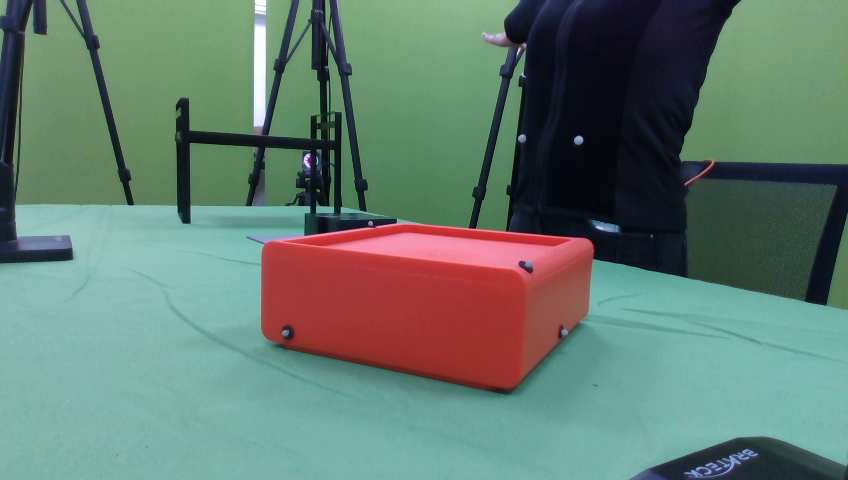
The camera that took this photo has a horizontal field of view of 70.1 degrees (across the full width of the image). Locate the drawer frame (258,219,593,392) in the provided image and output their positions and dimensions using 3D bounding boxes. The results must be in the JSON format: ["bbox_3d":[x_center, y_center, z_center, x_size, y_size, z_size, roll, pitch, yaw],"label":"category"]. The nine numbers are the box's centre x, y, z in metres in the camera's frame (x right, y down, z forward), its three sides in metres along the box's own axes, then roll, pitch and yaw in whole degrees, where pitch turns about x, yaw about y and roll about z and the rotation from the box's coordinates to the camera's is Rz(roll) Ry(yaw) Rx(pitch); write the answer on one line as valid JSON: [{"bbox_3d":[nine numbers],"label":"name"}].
[{"bbox_3d":[0.015,0.036,0.492,0.201,0.082,0.214,6,9,24],"label":"drawer frame"}]

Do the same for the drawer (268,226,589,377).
[{"bbox_3d":[0.015,0.037,0.493,0.194,0.073,0.212,7,8,25],"label":"drawer"}]

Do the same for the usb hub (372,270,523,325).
[{"bbox_3d":[0.020,0.048,0.527,0.124,0.025,0.050,8,7,25],"label":"usb hub"}]
